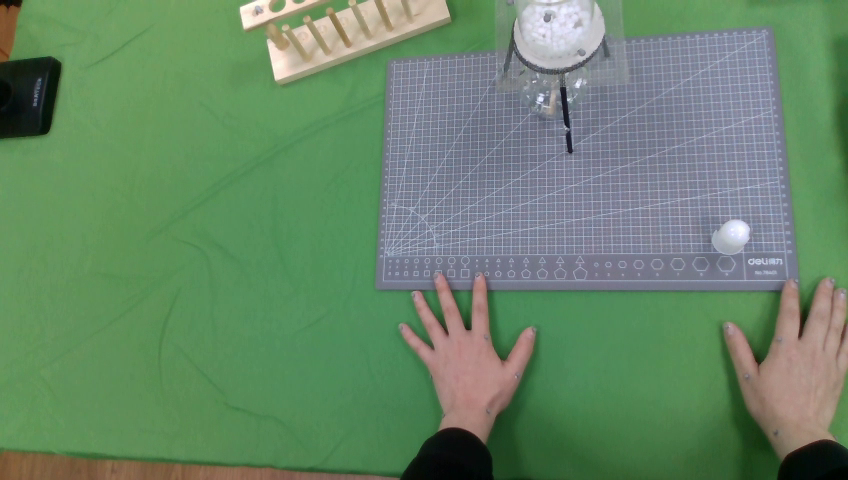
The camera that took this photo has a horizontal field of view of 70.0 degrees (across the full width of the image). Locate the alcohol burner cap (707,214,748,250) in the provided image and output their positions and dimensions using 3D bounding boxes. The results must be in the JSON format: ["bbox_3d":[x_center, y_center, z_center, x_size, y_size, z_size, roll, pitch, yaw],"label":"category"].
[{"bbox_3d":[0.312,-0.010,0.618,0.034,0.048,0.033,-3,75,12],"label":"alcohol burner cap"}]

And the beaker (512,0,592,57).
[{"bbox_3d":[0.113,-0.218,0.545,0.083,0.101,0.074,12,81,16],"label":"beaker"}]

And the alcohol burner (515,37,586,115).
[{"bbox_3d":[0.138,-0.185,0.662,0.078,0.120,0.077,-3,76,11],"label":"alcohol burner"}]

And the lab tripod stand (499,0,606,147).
[{"bbox_3d":[0.143,-0.191,0.651,0.148,0.132,0.147,-2,77,11],"label":"lab tripod stand"}]

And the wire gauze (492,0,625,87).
[{"bbox_3d":[0.129,-0.207,0.589,0.125,0.011,0.121,-1,80,10],"label":"wire gauze"}]

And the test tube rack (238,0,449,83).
[{"bbox_3d":[-0.099,-0.285,0.759,0.242,0.086,0.066,-18,73,9],"label":"test tube rack"}]
